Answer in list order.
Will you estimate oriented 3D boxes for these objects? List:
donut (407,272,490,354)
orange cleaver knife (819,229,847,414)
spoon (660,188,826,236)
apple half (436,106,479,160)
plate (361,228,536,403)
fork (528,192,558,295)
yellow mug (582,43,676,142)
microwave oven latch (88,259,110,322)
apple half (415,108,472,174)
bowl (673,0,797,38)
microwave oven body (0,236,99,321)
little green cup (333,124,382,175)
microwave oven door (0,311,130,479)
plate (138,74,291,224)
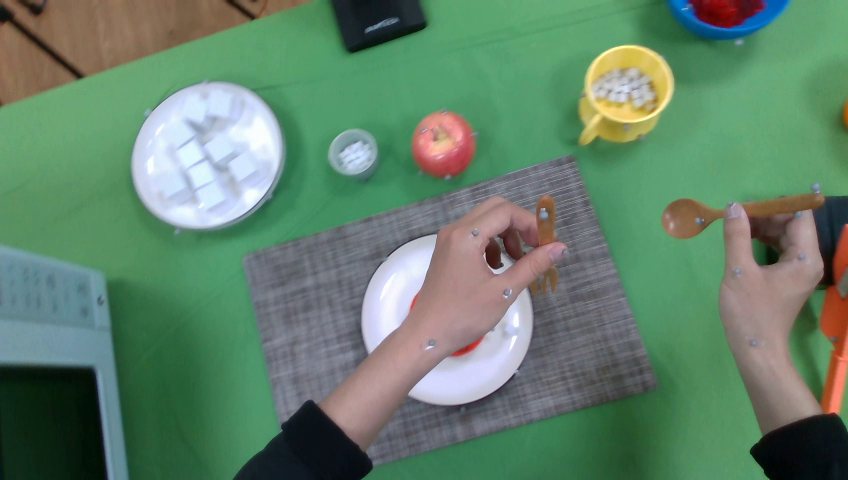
[{"bbox_3d":[0.030,0.086,0.719,0.099,0.048,0.098,-1,81,8],"label":"donut"},{"bbox_3d":[0.452,0.087,0.658,0.012,0.077,0.212,3,111,10],"label":"orange cleaver knife"},{"bbox_3d":[0.268,-0.026,0.531,0.022,0.193,0.041,-5,89,-8],"label":"spoon"},{"bbox_3d":[0.049,-0.139,0.759,0.033,0.081,0.081,-37,76,3],"label":"apple half"},{"bbox_3d":[0.029,0.089,0.730,0.209,0.038,0.208,-1,79,7],"label":"plate"},{"bbox_3d":[0.098,0.010,0.496,0.028,0.209,0.018,-7,70,8],"label":"fork"},{"bbox_3d":[0.241,-0.171,0.746,0.099,0.064,0.131,42,87,12],"label":"yellow mug"},{"bbox_3d":[-0.424,0.066,0.775,0.030,0.029,0.079,-11,78,4],"label":"microwave oven latch"},{"bbox_3d":[0.018,-0.116,0.759,0.053,0.075,0.080,-37,80,3],"label":"apple half"},{"bbox_3d":[0.376,-0.310,0.751,0.151,0.077,0.150,-1,79,7],"label":"bowl"},{"bbox_3d":[-0.542,0.249,0.654,0.326,0.261,0.439,-13,78,4],"label":"microwave oven body"},{"bbox_3d":[-0.084,-0.115,0.789,0.061,0.039,0.061,-1,78,7],"label":"little green cup"},{"bbox_3d":[-0.392,0.254,0.629,0.039,0.245,0.354,-14,77,4],"label":"microwave oven door"},{"bbox_3d":[-0.276,-0.119,0.813,0.207,0.039,0.206,-1,79,7],"label":"plate"}]
